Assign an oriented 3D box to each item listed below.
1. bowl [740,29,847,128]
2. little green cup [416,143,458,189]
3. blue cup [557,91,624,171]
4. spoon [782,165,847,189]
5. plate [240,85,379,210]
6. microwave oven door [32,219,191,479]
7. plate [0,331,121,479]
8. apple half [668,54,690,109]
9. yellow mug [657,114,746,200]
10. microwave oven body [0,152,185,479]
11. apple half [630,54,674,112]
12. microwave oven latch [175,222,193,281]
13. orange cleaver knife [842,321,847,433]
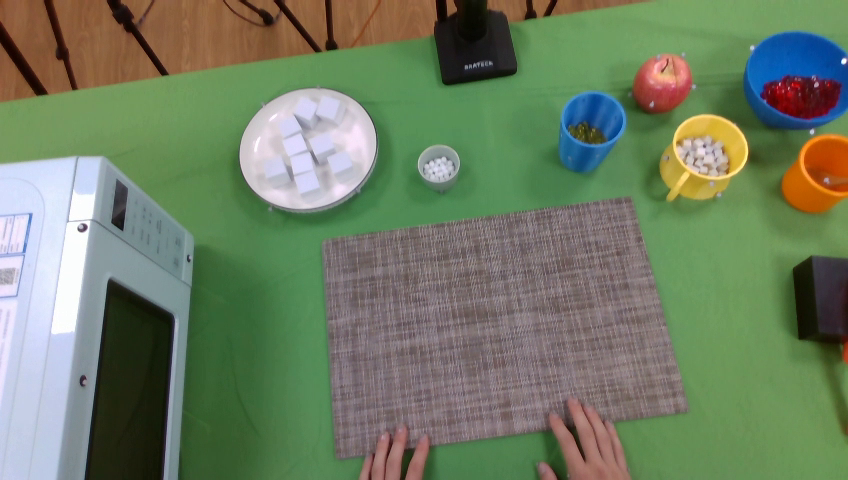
[{"bbox_3d":[0.523,-0.216,0.872,0.151,0.077,0.150,-1,70,4],"label":"bowl"},{"bbox_3d":[0.021,-0.106,0.888,0.061,0.039,0.061,-1,69,4],"label":"little green cup"},{"bbox_3d":[0.226,-0.146,0.855,0.092,0.101,0.092,-1,70,3],"label":"blue cup"},{"bbox_3d":[0.560,-0.076,0.779,0.041,0.192,0.022,-48,117,-13],"label":"spoon"},{"bbox_3d":[-0.169,-0.136,0.912,0.207,0.039,0.206,-1,69,4],"label":"plate"},{"bbox_3d":[-0.337,0.184,0.675,0.039,0.245,0.353,-5,69,2],"label":"microwave oven door"},{"bbox_3d":[-0.467,0.215,0.734,0.209,0.038,0.207,-1,70,3],"label":"plate"},{"bbox_3d":[0.371,-0.231,0.890,0.033,0.082,0.080,-3,69,6],"label":"apple half"},{"bbox_3d":[0.377,-0.106,0.847,0.099,0.064,0.130,38,78,17],"label":"yellow mug"},{"bbox_3d":[-0.485,0.160,0.700,0.326,0.262,0.438,-5,70,2],"label":"microwave oven body"},{"bbox_3d":[0.332,-0.229,0.893,0.053,0.075,0.080,-4,72,6],"label":"apple half"},{"bbox_3d":[-0.342,0.017,0.847,0.030,0.030,0.078,-3,70,2],"label":"microwave oven latch"},{"bbox_3d":[0.533,0.130,0.739,0.012,0.077,0.212,6,99,9],"label":"orange cleaver knife"}]
